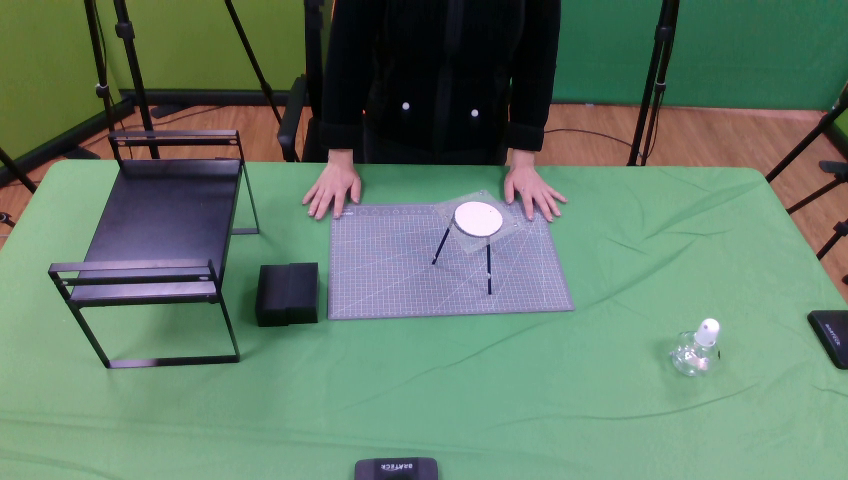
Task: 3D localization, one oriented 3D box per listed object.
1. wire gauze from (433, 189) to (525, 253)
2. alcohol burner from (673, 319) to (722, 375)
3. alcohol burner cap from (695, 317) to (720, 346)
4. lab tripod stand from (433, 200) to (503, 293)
[{"bbox_3d":[0.095,-0.039,1.065,0.121,0.011,0.124,-20,52,-23],"label":"wire gauze"},{"bbox_3d":[0.458,0.170,1.002,0.078,0.120,0.077,2,45,-2],"label":"alcohol burner"},{"bbox_3d":[0.459,0.146,0.975,0.034,0.048,0.033,-3,45,3],"label":"alcohol burner cap"},{"bbox_3d":[0.095,0.006,1.115,0.148,0.132,0.147,3,47,-3],"label":"lab tripod stand"}]
